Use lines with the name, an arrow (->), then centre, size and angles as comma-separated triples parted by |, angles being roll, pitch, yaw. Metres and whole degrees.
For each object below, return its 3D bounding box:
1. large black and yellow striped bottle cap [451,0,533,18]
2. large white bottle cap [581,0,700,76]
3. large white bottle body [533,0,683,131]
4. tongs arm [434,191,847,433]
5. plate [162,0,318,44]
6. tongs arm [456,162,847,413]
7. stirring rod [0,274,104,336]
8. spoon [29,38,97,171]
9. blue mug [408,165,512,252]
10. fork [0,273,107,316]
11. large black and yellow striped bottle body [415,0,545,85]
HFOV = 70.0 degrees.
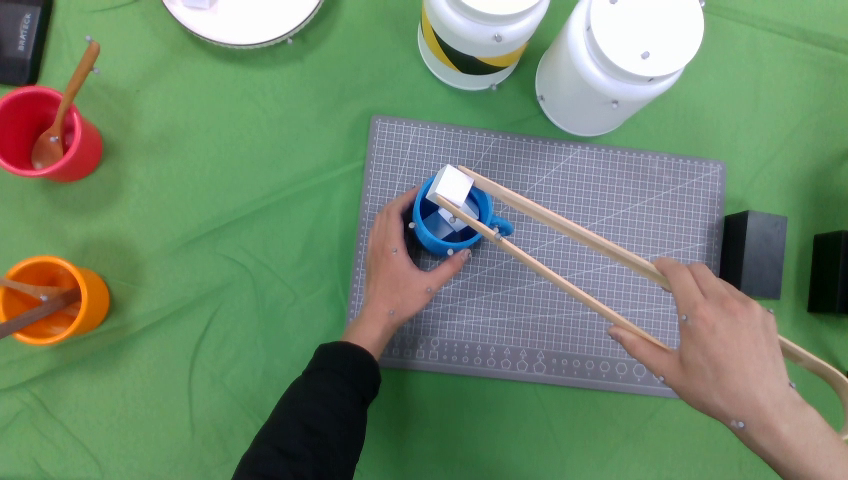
large black and yellow striped bottle cap -> 0.065, -0.272, 0.582 | 0.115, 0.019, 0.115 | 0, 86, -6
large white bottle cap -> 0.211, -0.217, 0.589 | 0.115, 0.018, 0.114 | 1, 85, -5
large white bottle body -> 0.205, -0.208, 0.672 | 0.131, 0.185, 0.130 | 0, 84, -4
tongs arm -> 0.174, 0.047, 0.522 | 0.382, 0.027, 0.050 | 36, 75, 17
plate -> -0.216, -0.330, 0.721 | 0.208, 0.039, 0.207 | 0, 85, -5
tongs arm -> 0.188, 0.028, 0.528 | 0.385, 0.028, 0.028 | 31, 70, 16
stirring rod -> -0.410, 0.079, 0.619 | 0.014, 0.006, 0.176 | 53, 41, -2
spoon -> -0.380, -0.139, 0.637 | 0.194, 0.021, 0.041 | -41, 84, 36
blue mug -> 0.042, -0.028, 0.680 | 0.117, 0.106, 0.082 | 14, 83, -4
fork -> -0.429, 0.039, 0.615 | 0.209, 0.018, 0.028 | 32, 79, -45
large black and yellow striped bottle body -> 0.059, -0.262, 0.665 | 0.131, 0.184, 0.130 | 0, 84, -4
